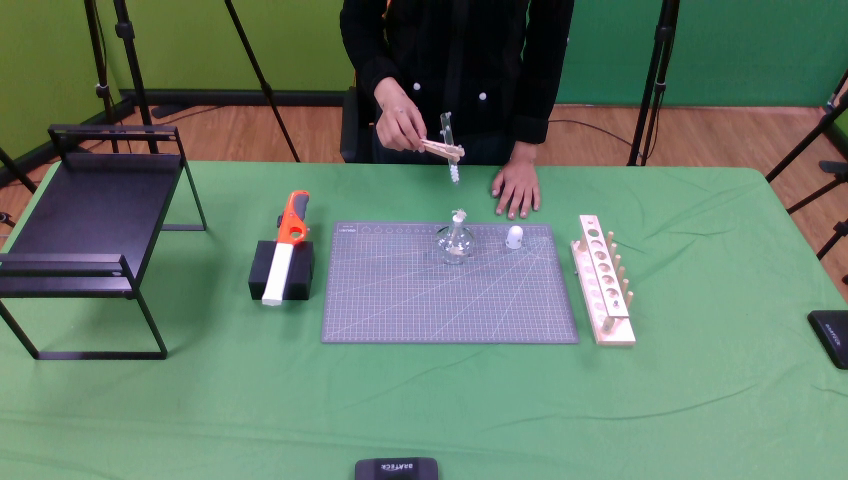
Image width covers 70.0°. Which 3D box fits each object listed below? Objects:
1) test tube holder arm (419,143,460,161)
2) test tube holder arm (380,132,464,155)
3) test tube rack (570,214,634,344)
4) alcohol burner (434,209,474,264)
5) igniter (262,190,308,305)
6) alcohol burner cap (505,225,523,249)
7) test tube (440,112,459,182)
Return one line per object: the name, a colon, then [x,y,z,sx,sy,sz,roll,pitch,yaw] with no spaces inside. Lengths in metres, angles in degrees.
test tube holder arm: [0.027,-0.160,1.086,0.087,0.015,0.010,26,61,34]
test tube holder arm: [-0.006,-0.177,1.112,0.177,0.015,0.013,17,56,29]
test tube rack: [0.333,0.067,1.116,0.067,0.085,0.241,1,46,-3]
alcohol burner: [0.058,-0.011,1.147,0.078,0.119,0.077,3,44,-3]
igniter: [-0.252,0.004,1.107,0.057,0.025,0.275,7,47,-6]
alcohol burner cap: [0.180,-0.009,1.203,0.034,0.048,0.033,2,47,-2]
test tube: [0.046,-0.161,1.072,0.017,0.151,0.017,-6,46,7]
